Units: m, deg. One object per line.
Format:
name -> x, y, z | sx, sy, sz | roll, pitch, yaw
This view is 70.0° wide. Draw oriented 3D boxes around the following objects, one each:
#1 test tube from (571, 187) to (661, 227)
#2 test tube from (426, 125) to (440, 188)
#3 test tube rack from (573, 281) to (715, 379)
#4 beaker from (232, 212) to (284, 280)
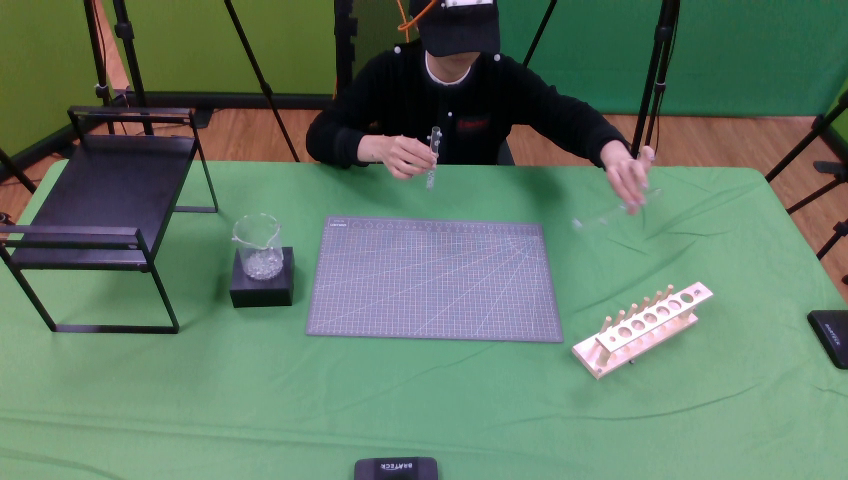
test tube -> 0.312, -0.054, 0.987 | 0.150, 0.017, 0.017 | -21, 48, 5
test tube -> 0.017, -0.152, 1.131 | 0.017, 0.151, 0.017 | 2, 50, -3
test tube rack -> 0.378, 0.140, 1.038 | 0.242, 0.085, 0.066 | -22, 51, -23
beaker -> -0.280, 0.016, 1.037 | 0.074, 0.101, 0.083 | -19, 50, -20
